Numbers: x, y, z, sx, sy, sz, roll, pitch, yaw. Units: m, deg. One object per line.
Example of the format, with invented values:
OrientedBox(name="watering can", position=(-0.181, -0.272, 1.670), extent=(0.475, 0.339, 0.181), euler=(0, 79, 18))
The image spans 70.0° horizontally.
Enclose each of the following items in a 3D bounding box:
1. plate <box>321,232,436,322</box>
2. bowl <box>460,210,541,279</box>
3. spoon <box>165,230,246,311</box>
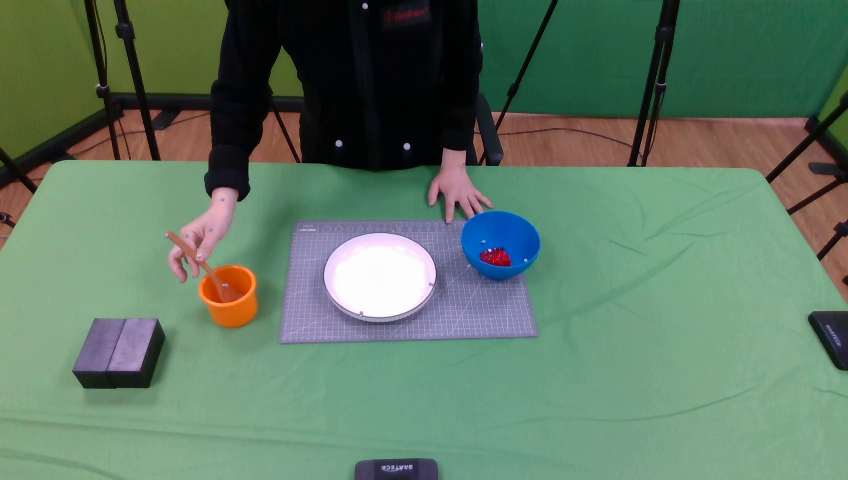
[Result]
OrientedBox(name="plate", position=(-0.083, 0.070, 1.109), extent=(0.209, 0.038, 0.208), euler=(3, 46, -3))
OrientedBox(name="bowl", position=(0.140, 0.021, 1.145), extent=(0.151, 0.077, 0.150), euler=(2, 46, -2))
OrientedBox(name="spoon", position=(-0.360, 0.051, 1.004), extent=(0.021, 0.195, 0.041), euler=(-10, 41, 23))
